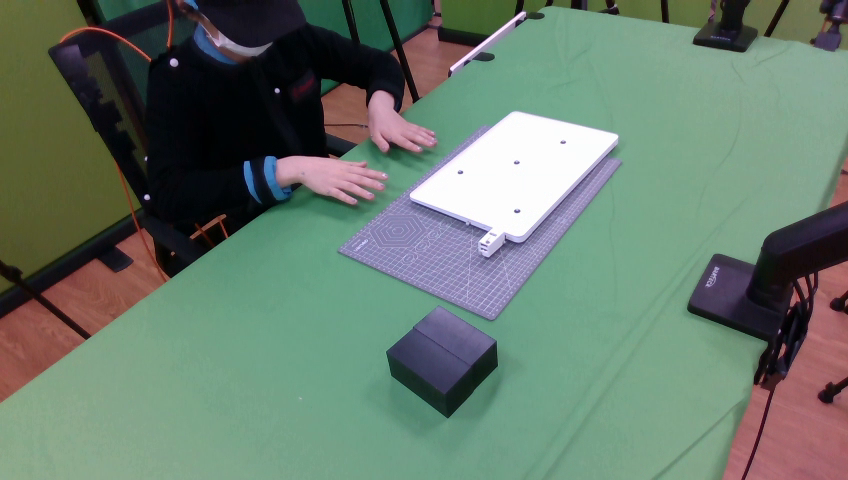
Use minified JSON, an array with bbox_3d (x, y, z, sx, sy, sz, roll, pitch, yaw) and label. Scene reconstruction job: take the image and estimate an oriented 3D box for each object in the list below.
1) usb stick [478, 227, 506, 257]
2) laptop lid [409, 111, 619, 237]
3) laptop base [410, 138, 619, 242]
[{"bbox_3d":[0.109,-0.001,0.934,0.021,0.027,0.059,22,43,33],"label":"usb stick"},{"bbox_3d":[0.167,-0.136,1.089,0.239,0.013,0.358,24,48,34],"label":"laptop lid"},{"bbox_3d":[0.170,-0.127,1.096,0.233,0.023,0.355,21,47,34],"label":"laptop base"}]
